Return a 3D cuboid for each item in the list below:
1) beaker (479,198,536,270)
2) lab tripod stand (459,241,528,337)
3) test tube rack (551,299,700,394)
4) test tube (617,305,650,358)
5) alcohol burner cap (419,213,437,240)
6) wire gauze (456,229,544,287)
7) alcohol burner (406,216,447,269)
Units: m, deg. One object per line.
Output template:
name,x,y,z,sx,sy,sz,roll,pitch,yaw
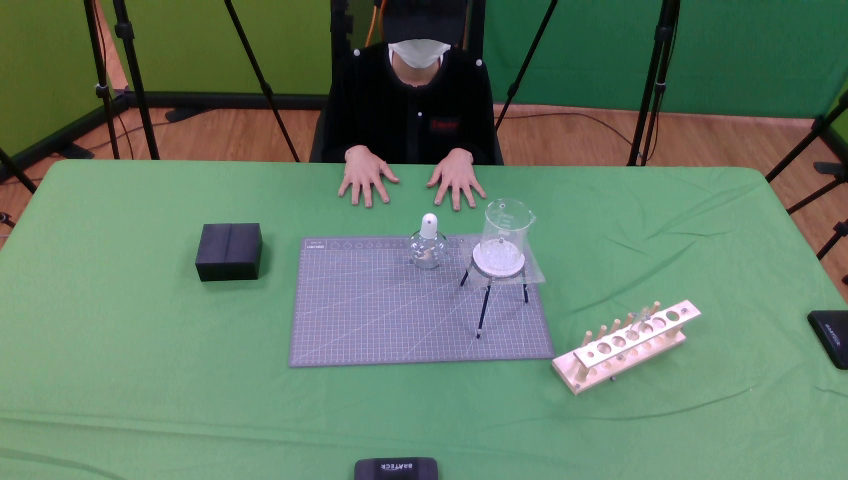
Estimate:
beaker,0.131,-0.007,0.975,0.084,0.101,0.073,3,46,-3
lab tripod stand,0.122,0.075,1.054,0.148,0.132,0.147,3,44,-3
test tube rack,0.339,0.166,1.021,0.242,0.085,0.066,-19,50,-21
test tube,0.333,0.149,0.967,0.017,0.151,0.017,0,52,1
alcohol burner cap,0.009,-0.027,1.109,0.034,0.048,0.033,3,44,-3
wire gauze,0.125,0.030,1.008,0.125,0.011,0.120,-3,48,-11
alcohol burner,0.006,-0.003,1.135,0.078,0.120,0.077,2,48,-2
